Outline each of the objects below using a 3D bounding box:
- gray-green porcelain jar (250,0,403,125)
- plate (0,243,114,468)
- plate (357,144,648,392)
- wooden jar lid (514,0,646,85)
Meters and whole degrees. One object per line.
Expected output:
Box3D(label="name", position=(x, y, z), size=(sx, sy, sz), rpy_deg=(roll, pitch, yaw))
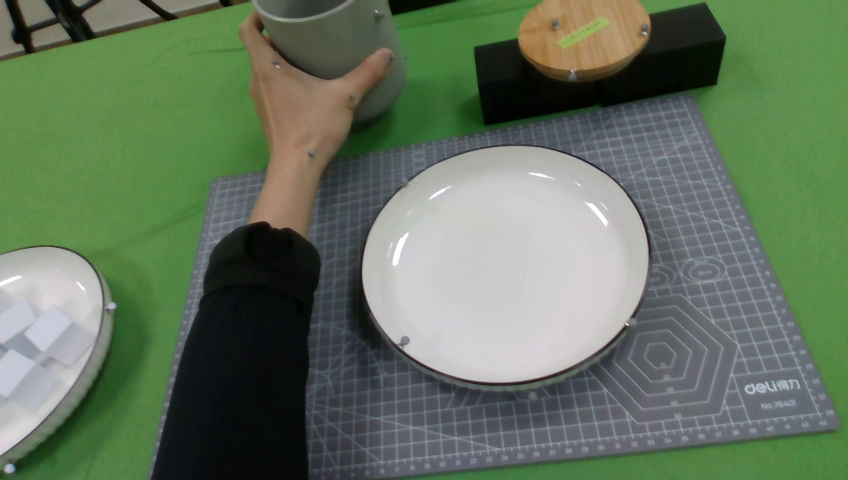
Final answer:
Box3D(label="gray-green porcelain jar", position=(-0.078, -0.175, 0.538), size=(0.106, 0.128, 0.105), rpy_deg=(-5, 58, 9))
Box3D(label="plate", position=(-0.346, 0.097, 0.491), size=(0.207, 0.039, 0.205), rpy_deg=(-7, 53, 9))
Box3D(label="plate", position=(0.055, 0.016, 0.448), size=(0.209, 0.038, 0.207), rpy_deg=(-7, 53, 10))
Box3D(label="wooden jar lid", position=(0.132, -0.171, 0.517), size=(0.108, 0.021, 0.107), rpy_deg=(-6, 55, 9))
